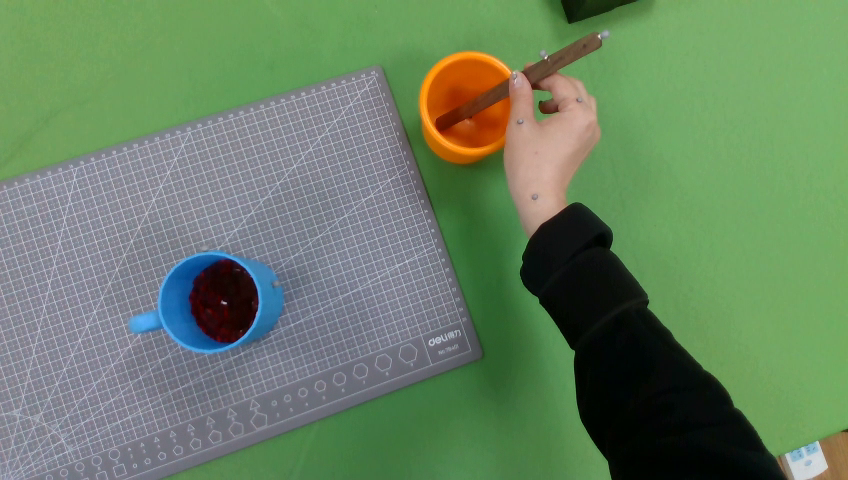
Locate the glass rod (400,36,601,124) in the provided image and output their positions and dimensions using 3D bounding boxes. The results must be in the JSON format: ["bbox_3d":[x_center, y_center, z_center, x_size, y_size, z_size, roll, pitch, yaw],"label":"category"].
[{"bbox_3d":[0.057,-0.134,0.525,0.199,0.008,0.008,-15,86,35],"label":"glass rod"}]

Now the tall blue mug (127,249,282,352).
[{"bbox_3d":[-0.177,0.060,0.505,0.107,0.108,0.078,-43,91,-7],"label":"tall blue mug"}]
